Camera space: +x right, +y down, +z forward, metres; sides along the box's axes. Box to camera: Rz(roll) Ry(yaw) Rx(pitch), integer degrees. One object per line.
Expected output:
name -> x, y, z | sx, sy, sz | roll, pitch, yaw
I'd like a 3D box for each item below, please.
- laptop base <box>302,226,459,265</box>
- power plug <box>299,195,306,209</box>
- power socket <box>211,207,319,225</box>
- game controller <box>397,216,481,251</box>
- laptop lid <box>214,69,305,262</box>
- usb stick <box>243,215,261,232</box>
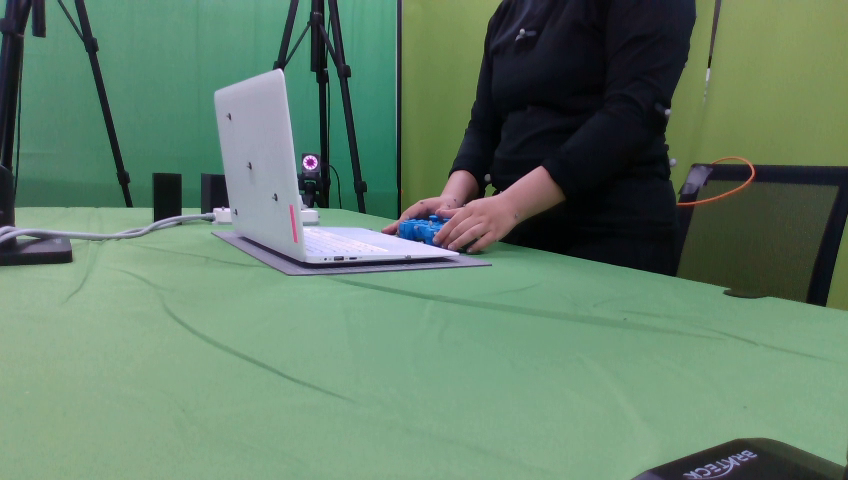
laptop base -> -0.136, 0.006, 0.951 | 0.237, 0.023, 0.352 | 2, 6, -32
power plug -> -0.283, -0.075, 1.342 | 0.035, 0.052, 0.072 | 0, 3, -18
power socket -> -0.334, -0.051, 1.281 | 0.228, 0.032, 0.072 | -1, 9, -29
game controller -> 0.020, -0.013, 1.052 | 0.097, 0.051, 0.154 | -4, 9, -30
laptop lid -> -0.246, -0.107, 0.865 | 0.013, 0.241, 0.355 | -11, 14, -30
usb stick -> -0.302, -0.028, 1.070 | 0.021, 0.027, 0.059 | -1, 12, -30
